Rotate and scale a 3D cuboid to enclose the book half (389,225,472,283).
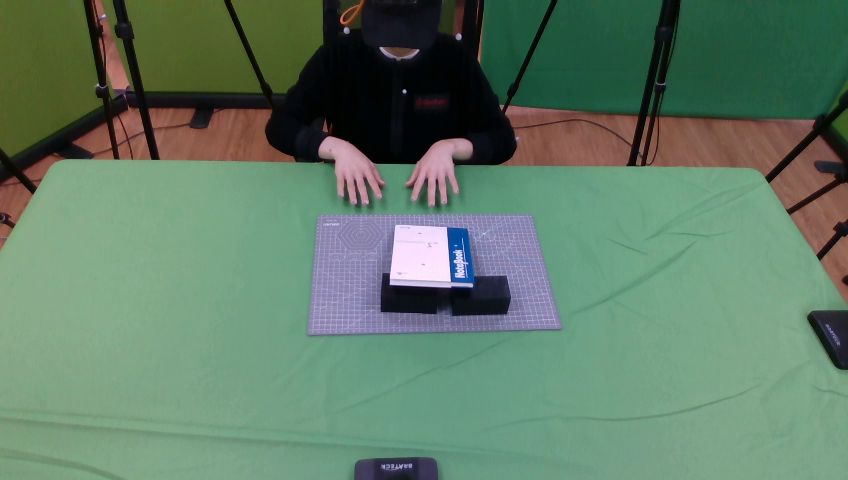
[{"bbox_3d":[0.012,0.022,1.128,0.143,0.007,0.209,3,28,-1],"label":"book half"}]
